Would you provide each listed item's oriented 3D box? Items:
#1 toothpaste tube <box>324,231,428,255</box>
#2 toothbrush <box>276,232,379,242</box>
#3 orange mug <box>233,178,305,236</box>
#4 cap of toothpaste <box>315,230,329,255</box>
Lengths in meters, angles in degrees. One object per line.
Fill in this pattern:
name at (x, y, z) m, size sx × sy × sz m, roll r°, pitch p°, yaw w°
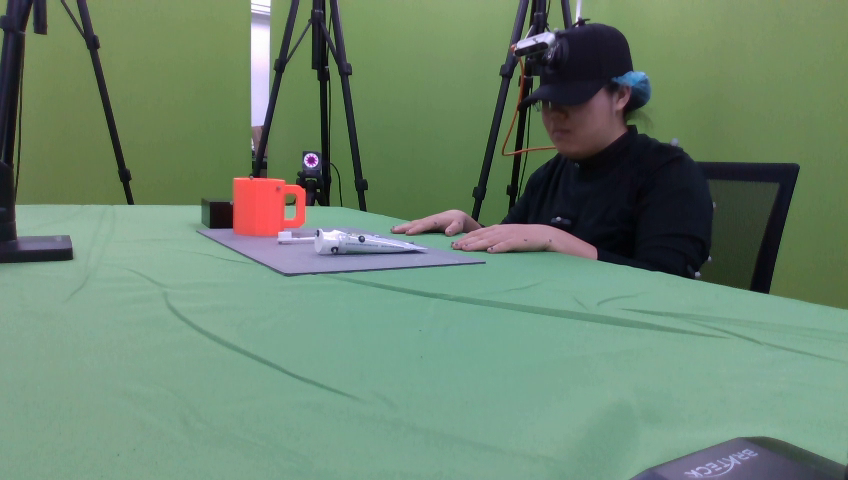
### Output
toothpaste tube at (-0.076, 0.006, 0.893) m, size 0.166 × 0.034 × 0.055 m, roll 1°, pitch 10°, yaw -32°
toothbrush at (-0.153, -0.005, 0.990) m, size 0.183 × 0.016 × 0.014 m, roll 0°, pitch -6°, yaw -33°
orange mug at (-0.273, -0.061, 1.067) m, size 0.127 × 0.101 × 0.083 m, roll -5°, pitch 10°, yaw -24°
cap of toothpaste at (-0.144, 0.003, 0.854) m, size 0.011 × 0.037 × 0.037 m, roll 2°, pitch 6°, yaw -30°
